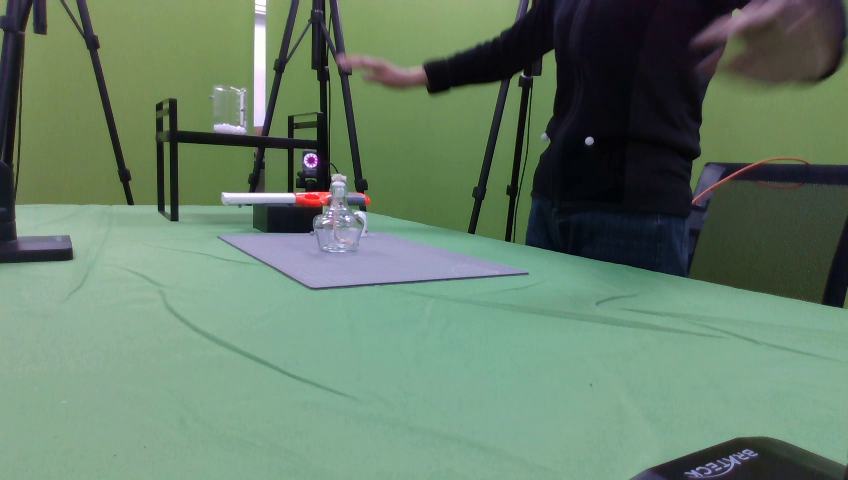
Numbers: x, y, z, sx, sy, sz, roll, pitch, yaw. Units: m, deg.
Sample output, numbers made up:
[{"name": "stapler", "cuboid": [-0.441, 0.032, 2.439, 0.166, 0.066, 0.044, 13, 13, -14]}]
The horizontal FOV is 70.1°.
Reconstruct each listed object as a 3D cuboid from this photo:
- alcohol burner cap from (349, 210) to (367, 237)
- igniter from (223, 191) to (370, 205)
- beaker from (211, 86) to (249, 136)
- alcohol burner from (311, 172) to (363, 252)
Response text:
[{"name": "alcohol burner cap", "cuboid": [-0.118, -0.030, 1.095, 0.034, 0.048, 0.034, 2, 8, 0]}, {"name": "igniter", "cuboid": [-0.239, -0.080, 1.159, 0.278, 0.025, 0.057, -2, 20, -26]}, {"name": "beaker", "cuboid": [-0.413, -0.274, 1.297, 0.074, 0.100, 0.083, -5, 11, -44]}, {"name": "alcohol burner", "cuboid": [-0.130, -0.042, 0.906, 0.078, 0.119, 0.078, 2, 6, 0]}]
